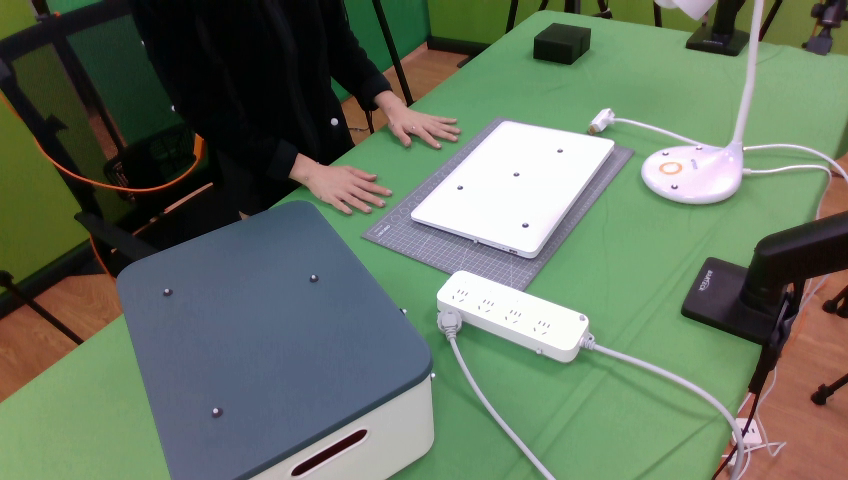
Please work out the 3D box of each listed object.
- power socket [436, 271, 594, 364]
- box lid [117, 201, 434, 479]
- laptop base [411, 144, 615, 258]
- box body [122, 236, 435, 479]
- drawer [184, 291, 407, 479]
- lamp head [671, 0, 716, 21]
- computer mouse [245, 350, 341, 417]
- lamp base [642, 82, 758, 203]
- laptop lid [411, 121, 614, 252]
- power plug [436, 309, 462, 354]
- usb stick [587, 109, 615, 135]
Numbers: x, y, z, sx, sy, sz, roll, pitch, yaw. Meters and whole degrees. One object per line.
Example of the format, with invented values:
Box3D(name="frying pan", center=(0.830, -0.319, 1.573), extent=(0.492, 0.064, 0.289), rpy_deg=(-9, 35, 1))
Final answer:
Box3D(name="power socket", center=(0.118, 0.102, 0.830), extent=(0.225, 0.033, 0.072), rpy_deg=(20, 49, 28))
Box3D(name="box lid", center=(-0.182, 0.087, 0.675), extent=(0.264, 0.015, 0.368), rpy_deg=(-25, 42, -20))
Box3D(name="laptop base", center=(0.167, -0.102, 1.075), extent=(0.234, 0.023, 0.355), rpy_deg=(17, 45, 30))
Box3D(name="box body", center=(-0.175, 0.142, 0.725), extent=(0.255, 0.161, 0.360), rpy_deg=(-25, 43, -20))
Box3D(name="drawer", center=(-0.155, 0.180, 0.720), extent=(0.195, 0.073, 0.210), rpy_deg=(-27, 41, -21))
Box3D(name="lamp head", center=(0.375, -0.373, 0.807), extent=(0.122, 0.113, 0.112), rpy_deg=(-40, 27, 32))
Box3D(name="computer mouse", center=(-0.164, 0.173, 0.754), extent=(0.118, 0.041, 0.062), rpy_deg=(-18, 33, -18))
Box3D(name="lamp base", center=(0.464, -0.174, 0.992), extent=(0.179, 0.181, 0.159), rpy_deg=(-5, 41, -1))
Box3D(name="laptop lid", center=(0.164, -0.112, 1.068), extent=(0.240, 0.013, 0.357), rpy_deg=(19, 46, 31))
Box3D(name="power plug", center=(0.031, 0.126, 0.810), extent=(0.035, 0.053, 0.072), rpy_deg=(6, 58, 10))
Box3D(name="usb stick", center=(0.344, -0.229, 1.184), extent=(0.059, 0.021, 0.027), rpy_deg=(-47, 21, -8))
